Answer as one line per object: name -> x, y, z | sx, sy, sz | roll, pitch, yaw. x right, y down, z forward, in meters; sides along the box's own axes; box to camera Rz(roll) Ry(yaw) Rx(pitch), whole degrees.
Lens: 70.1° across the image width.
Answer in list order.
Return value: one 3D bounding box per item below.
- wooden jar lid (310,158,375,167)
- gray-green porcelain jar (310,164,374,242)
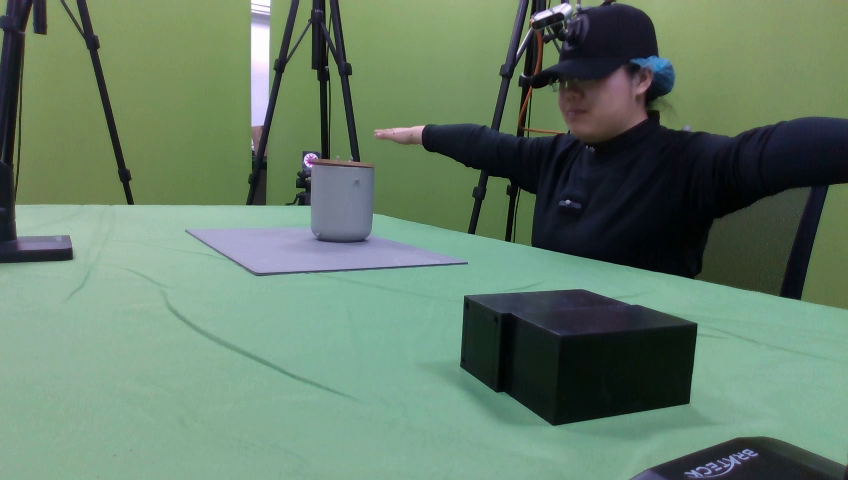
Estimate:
wooden jar lid -> -0.136, -0.125, 1.015 | 0.108, 0.020, 0.108 | 4, 8, 0
gray-green porcelain jar -> -0.139, -0.063, 1.023 | 0.106, 0.126, 0.106 | 3, 8, 0
